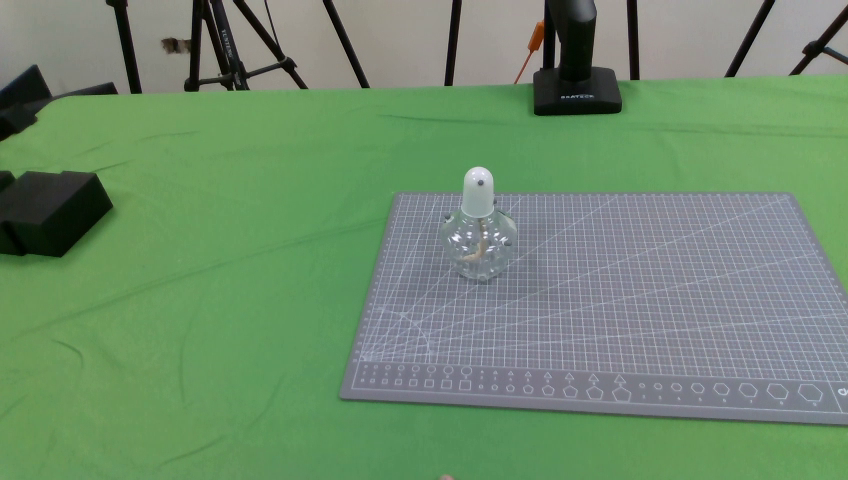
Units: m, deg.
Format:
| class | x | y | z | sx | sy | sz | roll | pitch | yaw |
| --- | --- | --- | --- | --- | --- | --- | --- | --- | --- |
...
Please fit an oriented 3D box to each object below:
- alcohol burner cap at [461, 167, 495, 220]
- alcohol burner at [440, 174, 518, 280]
| class | x | y | z | sx | sy | sz | roll | pitch | yaw |
| --- | --- | --- | --- | --- | --- | --- | --- | --- | --- |
| alcohol burner cap | 0.052 | -0.046 | 0.570 | 0.034 | 0.048 | 0.033 | 0 | 42 | 0 |
| alcohol burner | 0.054 | -0.019 | 0.594 | 0.078 | 0.120 | 0.077 | -2 | 41 | 3 |
